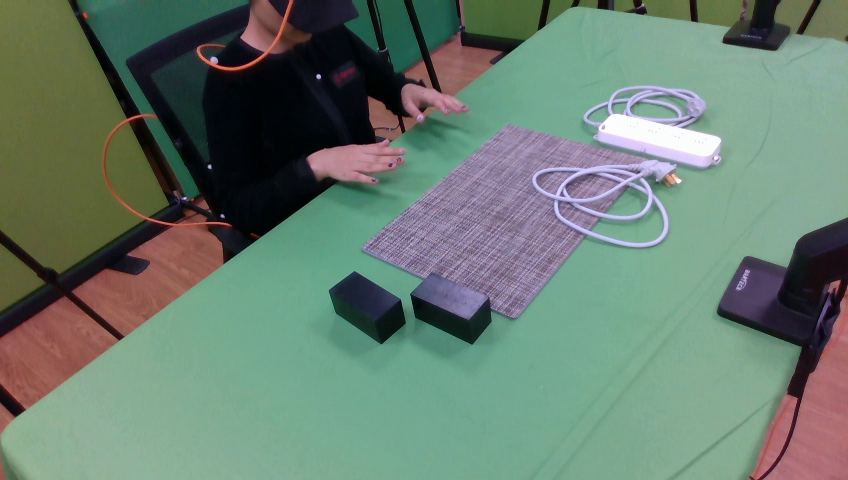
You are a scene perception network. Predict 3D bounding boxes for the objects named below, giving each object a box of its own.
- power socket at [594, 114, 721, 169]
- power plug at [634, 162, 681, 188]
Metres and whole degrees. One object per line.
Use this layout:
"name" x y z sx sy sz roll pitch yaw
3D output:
"power socket" 0.428 -0.183 1.109 0.225 0.033 0.072 23 49 33
"power plug" 0.396 -0.102 1.026 0.072 0.035 0.052 -35 69 -5
